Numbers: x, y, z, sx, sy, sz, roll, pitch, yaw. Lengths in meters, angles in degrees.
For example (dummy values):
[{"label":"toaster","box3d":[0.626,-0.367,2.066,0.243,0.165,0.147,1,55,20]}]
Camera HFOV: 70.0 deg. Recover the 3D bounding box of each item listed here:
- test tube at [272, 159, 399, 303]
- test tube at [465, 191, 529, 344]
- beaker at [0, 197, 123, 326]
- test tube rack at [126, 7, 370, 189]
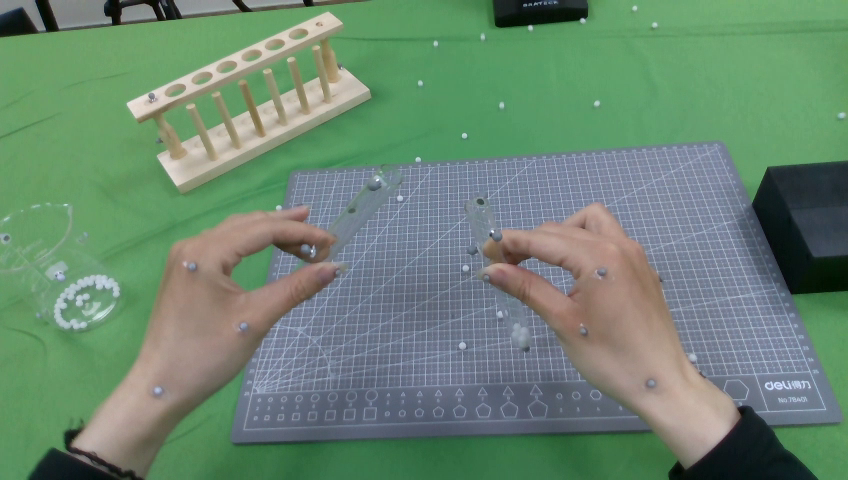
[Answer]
[{"label":"test tube","box3d":[-0.061,0.000,0.385,0.017,0.151,0.017,24,43,-25]},{"label":"test tube","box3d":[0.052,0.025,0.407,0.017,0.152,0.017,-11,45,12]},{"label":"beaker","box3d":[-0.319,0.021,0.532,0.073,0.101,0.083,19,55,21]},{"label":"test tube rack","box3d":[-0.185,-0.161,0.671,0.242,0.086,0.066,-32,54,-18]}]
